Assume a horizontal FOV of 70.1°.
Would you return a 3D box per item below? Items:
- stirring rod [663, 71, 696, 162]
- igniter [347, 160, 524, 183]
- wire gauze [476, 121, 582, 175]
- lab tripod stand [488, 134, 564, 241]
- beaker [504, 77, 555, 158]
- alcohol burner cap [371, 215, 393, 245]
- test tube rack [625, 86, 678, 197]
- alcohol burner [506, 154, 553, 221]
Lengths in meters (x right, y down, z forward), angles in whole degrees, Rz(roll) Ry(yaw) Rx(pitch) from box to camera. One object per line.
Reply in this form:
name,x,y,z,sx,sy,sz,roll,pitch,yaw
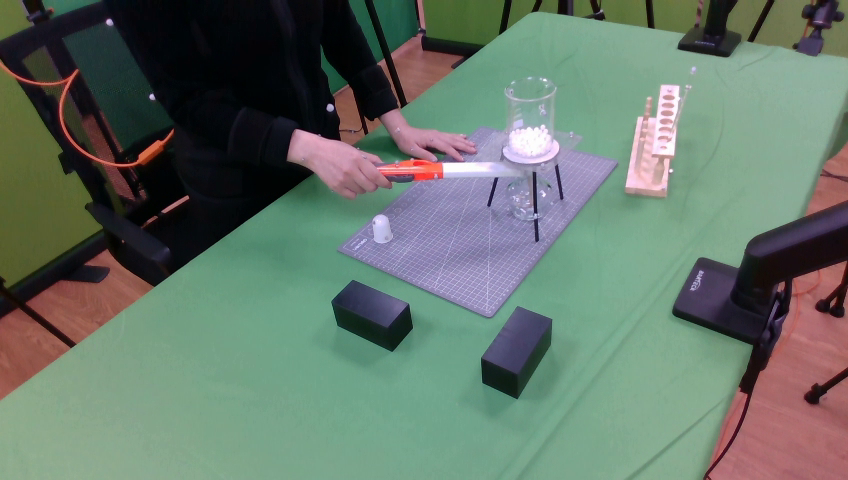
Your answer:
stirring rod,0.410,-0.195,0.981,0.014,0.177,0.006,12,50,14
igniter,0.018,-0.110,0.950,0.277,0.025,0.057,-2,37,-1
wire gauze,0.162,-0.142,0.929,0.120,0.011,0.125,19,49,32
lab tripod stand,0.168,-0.092,0.972,0.148,0.132,0.147,-5,41,5
beaker,0.160,-0.181,0.900,0.084,0.101,0.073,-33,46,-27
alcohol burner cap,-0.070,-0.019,0.990,0.034,0.048,0.033,-5,41,4
test tube rack,0.412,-0.184,1.088,0.066,0.085,0.242,9,43,18
alcohol burner,0.171,-0.091,0.985,0.078,0.119,0.077,-5,42,5
